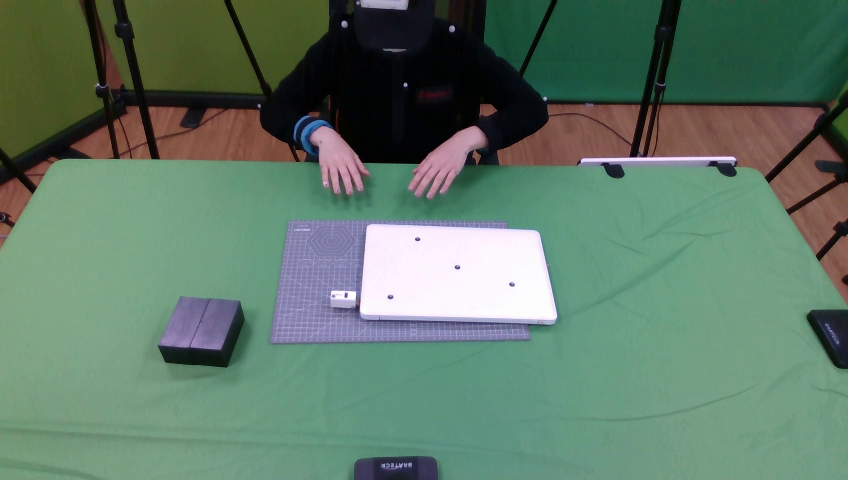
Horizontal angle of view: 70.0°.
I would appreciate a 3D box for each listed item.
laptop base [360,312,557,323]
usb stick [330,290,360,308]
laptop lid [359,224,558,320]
[{"bbox_3d":[0.061,0.063,1.145,0.354,0.023,0.234,2,43,-3],"label":"laptop base"},{"bbox_3d":[-0.135,0.105,1.068,0.059,0.027,0.021,6,44,-6],"label":"usb stick"},{"bbox_3d":[0.062,0.053,1.138,0.357,0.013,0.240,3,44,-2],"label":"laptop lid"}]
